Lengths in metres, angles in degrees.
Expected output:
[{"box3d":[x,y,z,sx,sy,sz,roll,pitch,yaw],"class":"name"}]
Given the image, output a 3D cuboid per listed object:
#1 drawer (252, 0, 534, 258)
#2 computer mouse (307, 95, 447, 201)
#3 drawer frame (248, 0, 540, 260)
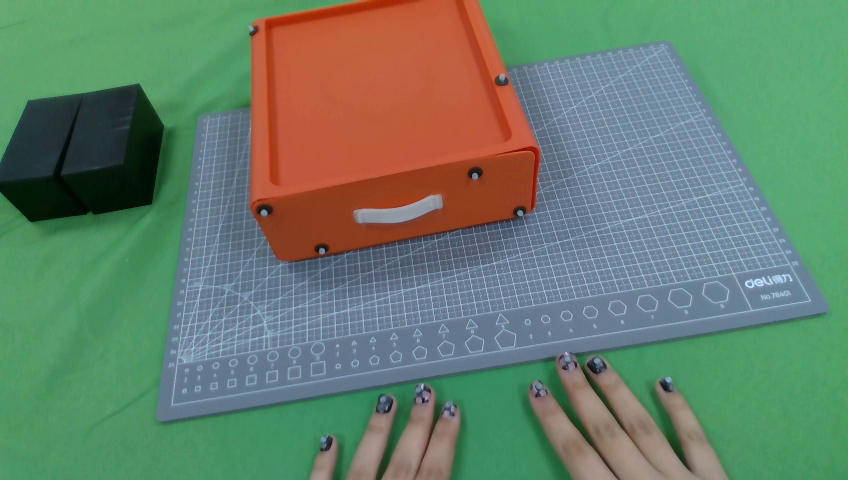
[{"box3d":[-0.034,-0.101,0.490,0.194,0.074,0.209,-11,53,-1],"class":"drawer"},{"box3d":[-0.040,-0.074,0.474,0.117,0.041,0.062,-16,54,12],"class":"computer mouse"},{"box3d":[-0.034,-0.103,0.491,0.202,0.083,0.211,-12,53,-2],"class":"drawer frame"}]
